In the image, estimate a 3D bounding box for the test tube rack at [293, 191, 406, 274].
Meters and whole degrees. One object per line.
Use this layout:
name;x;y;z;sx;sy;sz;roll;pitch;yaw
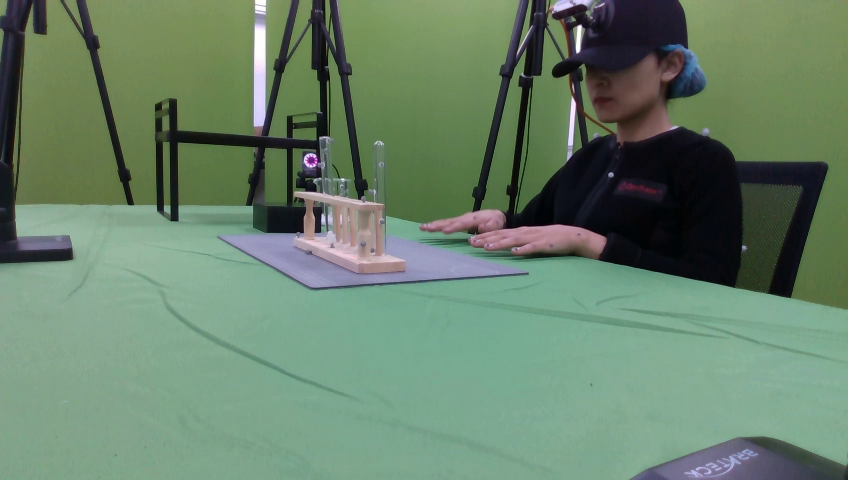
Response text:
test tube rack;-0.110;-0.017;0.836;0.067;0.085;0.241;-2;9;-30

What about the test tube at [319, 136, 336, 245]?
test tube;-0.134;-0.068;0.837;0.017;0.150;0.017;-3;4;0

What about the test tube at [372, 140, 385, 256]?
test tube;-0.058;-0.053;0.781;0.017;0.150;0.017;0;5;0

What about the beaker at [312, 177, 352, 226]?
beaker;-0.194;-0.081;1.266;0.084;0.100;0.073;-3;9;-29
